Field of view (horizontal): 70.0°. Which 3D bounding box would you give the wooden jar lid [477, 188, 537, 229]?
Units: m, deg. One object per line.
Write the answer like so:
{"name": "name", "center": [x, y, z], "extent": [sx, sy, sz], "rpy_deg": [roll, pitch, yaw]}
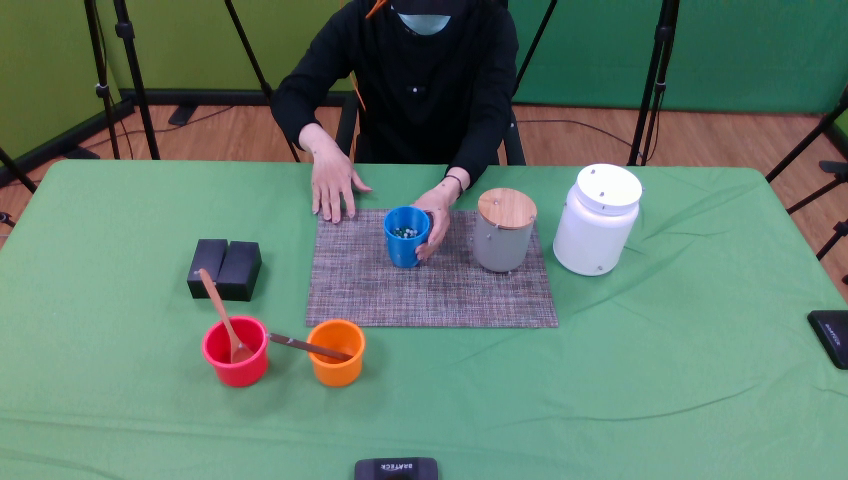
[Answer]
{"name": "wooden jar lid", "center": [0.149, -0.054, 1.094], "extent": [0.108, 0.021, 0.107], "rpy_deg": [4, 45, -4]}

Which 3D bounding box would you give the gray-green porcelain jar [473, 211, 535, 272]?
{"name": "gray-green porcelain jar", "center": [0.147, -0.011, 1.139], "extent": [0.106, 0.127, 0.105], "rpy_deg": [2, 46, -2]}

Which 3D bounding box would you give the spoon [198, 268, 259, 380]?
{"name": "spoon", "center": [-0.312, 0.132, 0.962], "extent": [0.041, 0.021, 0.194], "rpy_deg": [-24, 96, -20]}

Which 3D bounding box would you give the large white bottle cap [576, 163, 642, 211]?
{"name": "large white bottle cap", "center": [0.330, -0.096, 1.080], "extent": [0.115, 0.018, 0.114], "rpy_deg": [2, 46, -2]}

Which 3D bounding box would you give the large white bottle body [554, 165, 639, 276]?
{"name": "large white bottle body", "center": [0.326, -0.037, 1.141], "extent": [0.131, 0.185, 0.130], "rpy_deg": [2, 46, -2]}

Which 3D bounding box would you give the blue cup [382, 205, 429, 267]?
{"name": "blue cup", "center": [-0.034, -0.001, 1.132], "extent": [0.093, 0.101, 0.092], "rpy_deg": [1, 51, -1]}

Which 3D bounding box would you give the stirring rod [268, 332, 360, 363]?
{"name": "stirring rod", "center": [-0.167, 0.168, 0.942], "extent": [0.177, 0.006, 0.014], "rpy_deg": [25, 28, -41]}
